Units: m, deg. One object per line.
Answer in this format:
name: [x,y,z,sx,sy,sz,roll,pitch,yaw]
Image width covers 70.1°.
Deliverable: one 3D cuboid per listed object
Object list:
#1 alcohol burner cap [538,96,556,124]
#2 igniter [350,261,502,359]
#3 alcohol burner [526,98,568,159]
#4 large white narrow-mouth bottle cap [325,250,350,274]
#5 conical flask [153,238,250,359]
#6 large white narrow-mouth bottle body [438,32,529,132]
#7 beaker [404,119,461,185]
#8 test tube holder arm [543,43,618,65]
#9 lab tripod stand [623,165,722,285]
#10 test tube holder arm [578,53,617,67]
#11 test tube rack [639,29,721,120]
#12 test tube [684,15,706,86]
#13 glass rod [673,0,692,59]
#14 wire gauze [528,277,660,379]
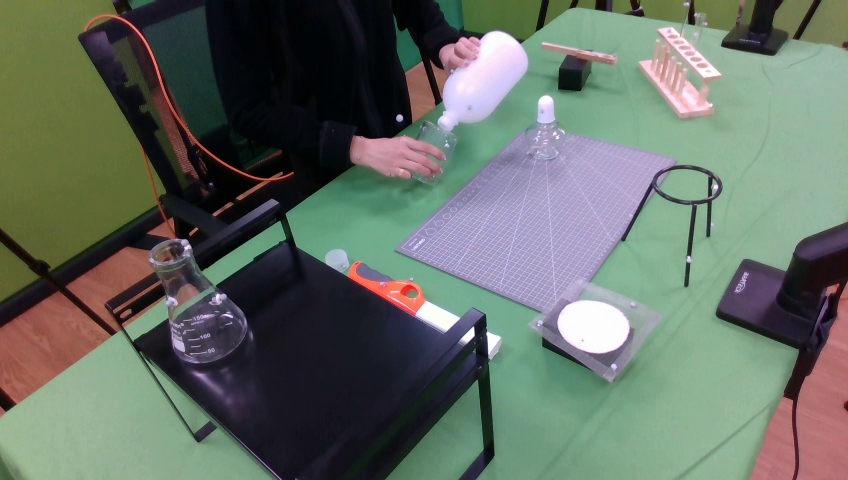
alcohol burner cap: [0.222,-0.237,1.095,0.034,0.048,0.033,-6,35,5]
igniter: [-0.009,0.094,0.870,0.274,0.025,0.057,25,61,33]
alcohol burner: [0.228,-0.210,1.118,0.078,0.119,0.077,-5,43,5]
large white narrow-mouth bottle cap: [-0.138,0.035,0.966,0.038,0.024,0.037,-4,41,4]
conical flask: [-0.225,0.055,0.597,0.075,0.122,0.075,-5,41,4]
large white narrow-mouth bottle body: [0.097,-0.275,1.095,0.101,0.102,0.194,33,79,38]
beaker: [0.015,-0.156,1.092,0.073,0.100,0.084,33,12,33]
test tube holder arm: [0.345,-0.413,1.341,0.177,0.015,0.013,25,50,31]
lab tripod stand: [0.365,-0.030,0.874,0.148,0.132,0.147,-6,41,6]
test tube holder arm: [0.376,-0.393,1.314,0.087,0.015,0.010,26,51,32]
test tube rack: [0.527,-0.351,1.262,0.067,0.085,0.241,-8,40,1]
test tube: [0.541,-0.378,1.216,0.017,0.151,0.017,-2,44,3]
glass rod: [0.537,-0.437,1.257,0.008,0.200,0.008,0,39,1]
wire gauze: [0.213,0.103,0.763,0.124,0.011,0.122,30,52,35]
